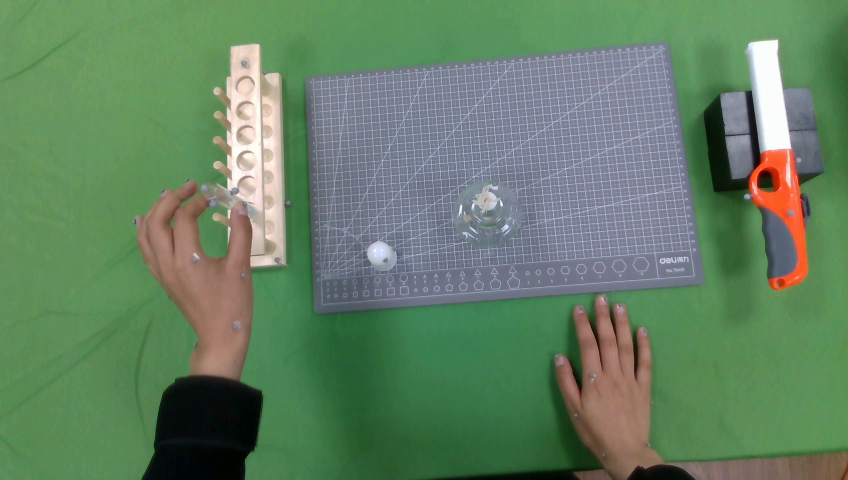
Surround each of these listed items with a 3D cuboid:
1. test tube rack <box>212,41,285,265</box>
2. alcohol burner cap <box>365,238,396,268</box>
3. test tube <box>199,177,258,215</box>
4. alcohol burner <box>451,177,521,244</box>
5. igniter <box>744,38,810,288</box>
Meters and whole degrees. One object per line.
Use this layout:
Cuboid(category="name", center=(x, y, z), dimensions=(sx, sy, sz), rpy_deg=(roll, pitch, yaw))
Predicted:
Cuboid(category="test tube rack", center=(-0.209, -0.098, 0.706), dimensions=(0.067, 0.085, 0.241), rpy_deg=(-4, 80, 4))
Cuboid(category="alcohol burner cap", center=(-0.051, 0.013, 0.697), dimensions=(0.034, 0.048, 0.033), rpy_deg=(-1, 79, 4))
Cuboid(category="test tube", center=(-0.182, -0.040, 0.576), dimensions=(0.017, 0.150, 0.017), rpy_deg=(0, 86, -2))
Cuboid(category="alcohol burner", center=(0.068, -0.035, 0.662), dimensions=(0.078, 0.119, 0.077), rpy_deg=(-1, 81, 5))
Cuboid(category="igniter", center=(0.376, -0.086, 0.652), dimensions=(0.057, 0.025, 0.275), rpy_deg=(-2, 80, 10))
